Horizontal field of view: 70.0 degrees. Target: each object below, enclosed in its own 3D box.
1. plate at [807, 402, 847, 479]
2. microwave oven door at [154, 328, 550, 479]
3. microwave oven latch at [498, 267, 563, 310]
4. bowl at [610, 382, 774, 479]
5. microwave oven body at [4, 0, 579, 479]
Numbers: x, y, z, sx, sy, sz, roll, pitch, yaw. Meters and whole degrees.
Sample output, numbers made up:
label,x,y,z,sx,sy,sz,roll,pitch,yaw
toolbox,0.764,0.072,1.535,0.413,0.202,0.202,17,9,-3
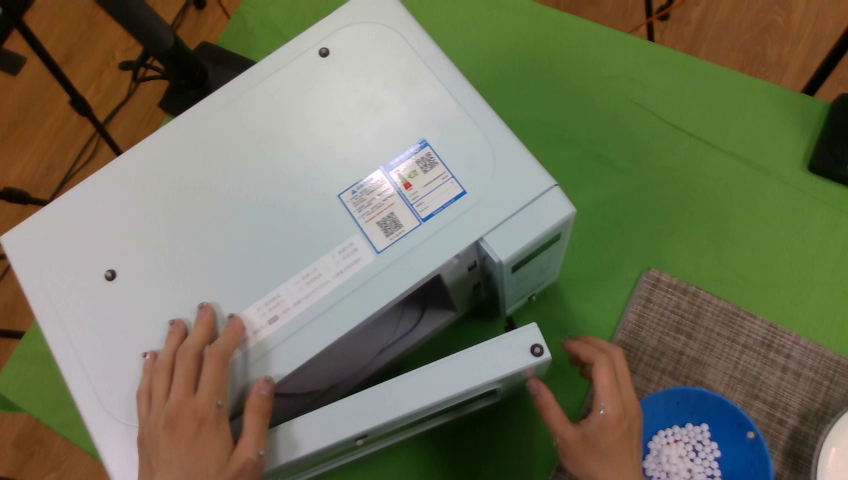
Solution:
label,x,y,z,sx,sy,sz,roll,pitch,yaw
plate,0.490,0.252,0.603,0.207,0.039,0.206,-2,73,7
microwave oven door,-0.053,0.175,0.580,0.356,0.245,0.039,-22,70,1
microwave oven latch,0.123,0.047,0.702,0.079,0.030,0.030,-33,72,-2
bowl,0.263,0.225,0.622,0.151,0.077,0.150,-2,73,8
microwave oven body,-0.118,0.008,0.646,0.442,0.262,0.323,-35,72,-3
